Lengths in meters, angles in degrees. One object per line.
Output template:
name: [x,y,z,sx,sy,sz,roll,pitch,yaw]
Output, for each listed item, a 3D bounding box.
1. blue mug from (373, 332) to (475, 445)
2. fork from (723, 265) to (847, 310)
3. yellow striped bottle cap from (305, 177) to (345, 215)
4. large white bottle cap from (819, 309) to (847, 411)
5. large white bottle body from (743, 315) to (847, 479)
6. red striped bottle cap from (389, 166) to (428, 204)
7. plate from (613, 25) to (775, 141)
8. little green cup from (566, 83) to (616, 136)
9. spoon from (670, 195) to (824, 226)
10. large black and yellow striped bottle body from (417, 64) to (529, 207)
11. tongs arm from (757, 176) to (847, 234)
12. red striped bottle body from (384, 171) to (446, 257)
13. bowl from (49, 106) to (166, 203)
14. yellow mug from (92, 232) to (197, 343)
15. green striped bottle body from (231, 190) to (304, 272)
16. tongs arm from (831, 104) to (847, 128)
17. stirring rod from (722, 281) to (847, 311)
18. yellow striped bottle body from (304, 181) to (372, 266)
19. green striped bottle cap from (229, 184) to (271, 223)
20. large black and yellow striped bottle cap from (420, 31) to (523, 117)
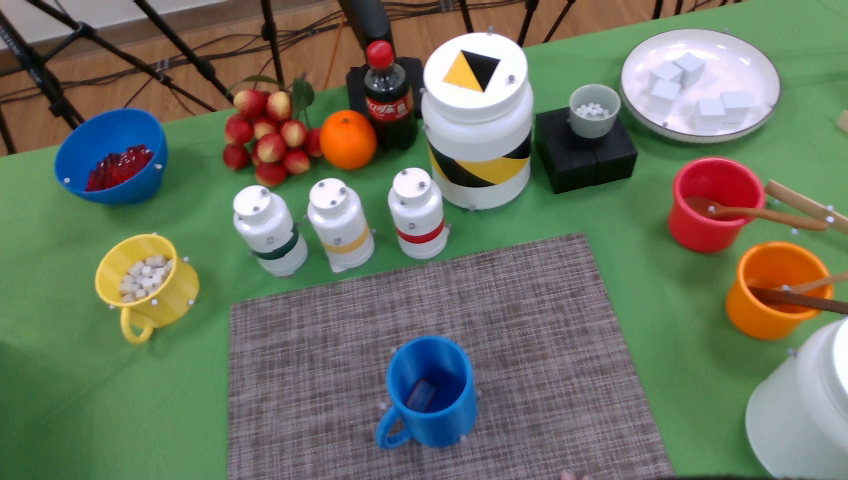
blue mug: [-0.003,0.162,0.609,0.116,0.107,0.081,-40,61,-16]
fork: [0.407,0.038,0.612,0.207,0.019,0.028,-28,42,44]
yellow striped bottle cap: [-0.112,-0.051,0.687,0.044,0.019,0.044,-1,54,2]
large white bottle cap: [0.365,0.098,0.458,0.115,0.018,0.114,-3,57,5]
large white bottle body: [0.376,0.143,0.530,0.130,0.186,0.129,-3,58,6]
red striped bottle cap: [-0.018,-0.063,0.683,0.044,0.018,0.044,-1,56,2]
plate: [0.367,-0.213,0.838,0.209,0.038,0.207,-3,59,5]
little green cup: [0.209,-0.164,0.767,0.061,0.039,0.061,-2,56,4]
spoon: [0.346,-0.032,0.667,0.041,0.192,0.022,-27,104,-13]
large black and yellow striped bottle body: [0.061,-0.141,0.745,0.130,0.186,0.129,-3,58,6]
tongs arm: [0.568,0.017,0.672,0.381,0.027,0.050,36,65,24]
red striped bottle body: [-0.011,-0.035,0.727,0.063,0.121,0.062,-5,57,8]
bowl: [-0.425,-0.105,0.847,0.151,0.077,0.150,-3,58,5]
yellow mug: [-0.343,0.062,0.741,0.100,0.064,0.129,-3,59,5]
green striped bottle body: [-0.192,-0.015,0.738,0.063,0.120,0.062,-3,58,5]
tongs arm: [0.636,-0.036,0.699,0.028,0.028,0.383,-26,59,-17]
stirring rod: [0.380,0.058,0.610,0.014,0.006,0.175,-34,18,-19]
yellow striped bottle body: [-0.105,-0.024,0.732,0.063,0.121,0.062,-4,58,6]
green striped bottle cap: [-0.199,-0.042,0.694,0.044,0.020,0.044,-2,57,4]
large black and yellow striped bottle cap: [0.052,-0.185,0.672,0.115,0.019,0.114,-4,60,8]
